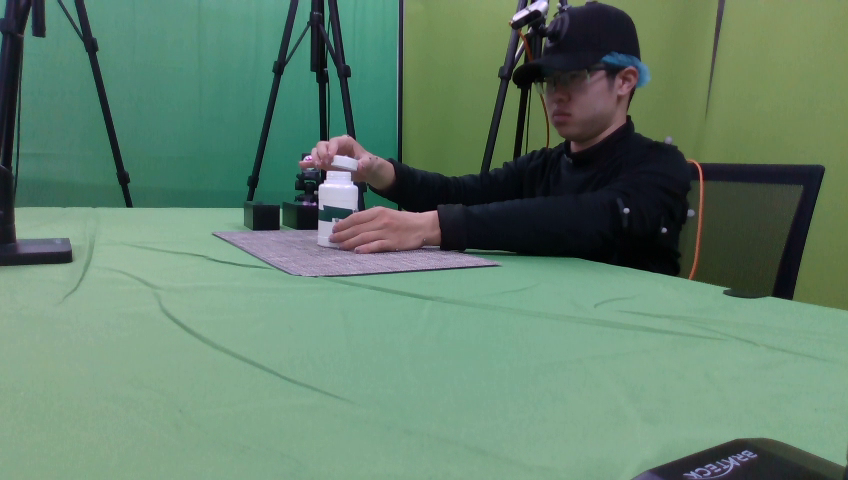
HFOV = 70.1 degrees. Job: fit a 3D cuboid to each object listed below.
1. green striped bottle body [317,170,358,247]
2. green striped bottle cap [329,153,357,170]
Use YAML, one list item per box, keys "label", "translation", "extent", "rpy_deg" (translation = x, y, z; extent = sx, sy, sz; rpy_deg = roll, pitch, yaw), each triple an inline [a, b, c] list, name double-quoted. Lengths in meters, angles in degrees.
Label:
- label: "green striped bottle body"
  translation: [-0.138, -0.051, 0.964]
  extent: [0.063, 0.119, 0.063]
  rpy_deg: [2, 7, 0]
- label: "green striped bottle cap"
  translation: [-0.134, -0.130, 1.004]
  extent: [0.044, 0.020, 0.044]
  rpy_deg: [13, 1, 0]
